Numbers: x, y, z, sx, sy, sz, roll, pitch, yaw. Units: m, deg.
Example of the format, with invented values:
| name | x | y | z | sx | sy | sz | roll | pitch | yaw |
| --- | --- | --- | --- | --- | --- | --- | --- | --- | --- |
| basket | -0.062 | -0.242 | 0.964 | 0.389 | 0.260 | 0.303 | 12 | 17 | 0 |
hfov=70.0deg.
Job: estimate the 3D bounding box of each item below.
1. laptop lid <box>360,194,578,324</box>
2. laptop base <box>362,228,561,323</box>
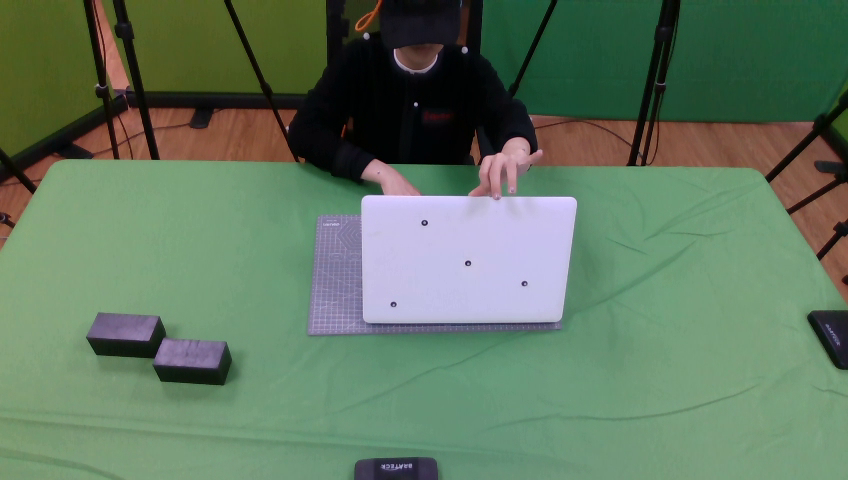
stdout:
| name | x | y | z | sx | sy | sz | roll | pitch | yaw |
| --- | --- | --- | --- | --- | --- | --- | --- | --- | --- |
| laptop lid | 0.072 | 0.036 | 1.010 | 0.357 | 0.242 | 0.013 | 1 | 23 | -4 |
| laptop base | 0.064 | 0.063 | 1.142 | 0.355 | 0.023 | 0.234 | 0 | 42 | -4 |
